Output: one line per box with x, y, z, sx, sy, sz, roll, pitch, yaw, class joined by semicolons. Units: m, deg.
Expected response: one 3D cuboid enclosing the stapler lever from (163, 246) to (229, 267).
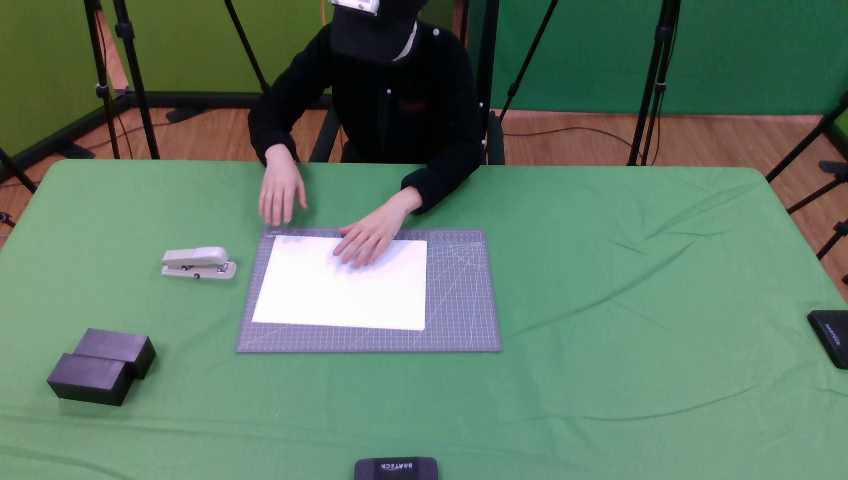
-0.415;0.029;1.103;0.118;0.040;0.026;3;43;0;stapler lever

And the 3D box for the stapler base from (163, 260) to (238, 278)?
-0.415;0.046;1.120;0.130;0.024;0.041;2;43;0;stapler base
